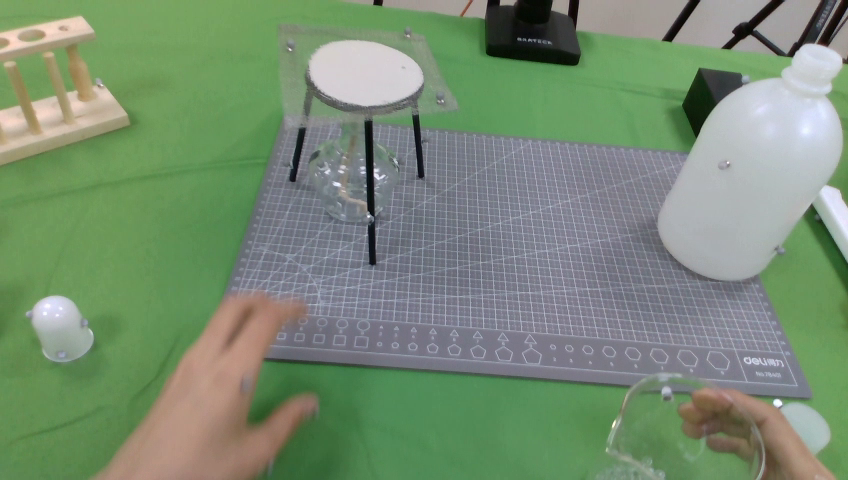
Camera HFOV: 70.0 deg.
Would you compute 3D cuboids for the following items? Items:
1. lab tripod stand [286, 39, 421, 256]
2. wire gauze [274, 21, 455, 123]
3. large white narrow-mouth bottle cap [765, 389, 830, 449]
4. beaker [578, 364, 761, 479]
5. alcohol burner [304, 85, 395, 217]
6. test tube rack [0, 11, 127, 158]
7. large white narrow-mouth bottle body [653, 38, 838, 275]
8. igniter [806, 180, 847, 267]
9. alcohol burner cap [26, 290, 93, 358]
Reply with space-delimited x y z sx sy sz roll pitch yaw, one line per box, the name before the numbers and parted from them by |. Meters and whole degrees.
lab tripod stand | -0.051 -0.082 0.501 0.148 0.132 0.147 5 47 -6
wire gauze | -0.048 -0.130 0.453 0.122 0.011 0.123 -4 49 -14
large white narrow-mouth bottle cap | 0.265 0.127 0.431 0.038 0.024 0.037 4 46 -4
beaker | 0.131 0.131 0.350 0.084 0.101 0.073 -6 46 -9
alcohol burner | -0.061 -0.078 0.509 0.078 0.120 0.077 6 45 -5
test tube rack | -0.400 -0.118 0.520 0.242 0.086 0.066 -27 56 -30
large white narrow-mouth bottle body | 0.266 -0.067 0.491 0.102 0.196 0.101 4 46 -3
igniter | 0.395 0.043 0.526 0.057 0.025 0.274 14 45 -10
alcohol burner cap | -0.248 0.054 0.409 0.034 0.048 0.033 5 46 -5
